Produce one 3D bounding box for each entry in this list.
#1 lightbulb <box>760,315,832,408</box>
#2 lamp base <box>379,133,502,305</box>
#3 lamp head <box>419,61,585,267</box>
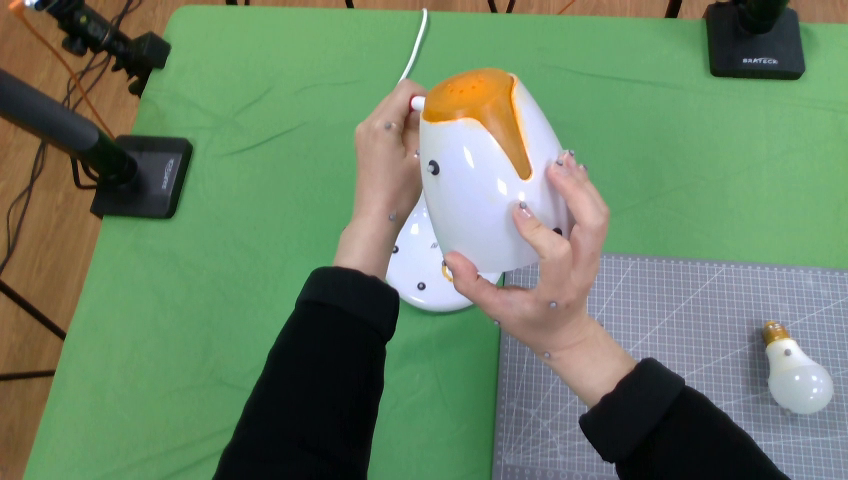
[{"bbox_3d":[0.401,0.131,0.665,0.059,0.060,0.106,-9,54,1],"label":"lightbulb"},{"bbox_3d":[0.008,-0.032,0.692,0.160,0.181,0.178,-36,68,-9],"label":"lamp base"},{"bbox_3d":[0.044,-0.061,0.423,0.112,0.124,0.111,-19,31,12],"label":"lamp head"}]
